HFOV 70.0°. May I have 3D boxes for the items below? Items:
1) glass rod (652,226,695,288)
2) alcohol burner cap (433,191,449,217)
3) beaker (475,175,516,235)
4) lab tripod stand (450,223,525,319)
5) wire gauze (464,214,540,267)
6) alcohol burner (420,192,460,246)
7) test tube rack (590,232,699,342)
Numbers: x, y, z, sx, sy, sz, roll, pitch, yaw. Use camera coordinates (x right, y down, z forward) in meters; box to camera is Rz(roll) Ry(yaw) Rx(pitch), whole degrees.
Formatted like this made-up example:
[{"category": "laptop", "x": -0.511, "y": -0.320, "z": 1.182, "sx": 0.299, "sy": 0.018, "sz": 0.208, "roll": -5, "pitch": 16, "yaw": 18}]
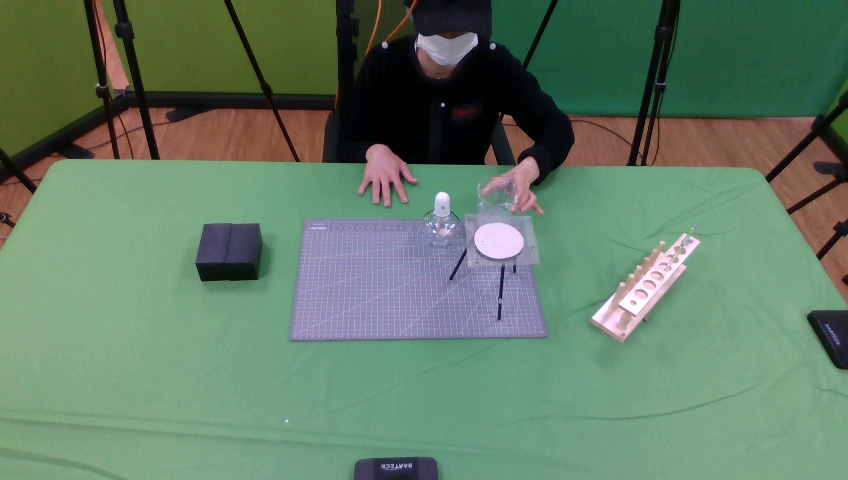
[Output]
[{"category": "glass rod", "x": 0.432, "y": 0.037, "z": 1.057, "sx": 0.008, "sy": 0.200, "sz": 0.008, "roll": 1, "pitch": 54, "yaw": -1}, {"category": "alcohol burner cap", "x": 0.033, "y": -0.071, "z": 1.150, "sx": 0.034, "sy": 0.048, "sz": 0.033, "roll": 0, "pitch": 45, "yaw": 0}, {"category": "beaker", "x": 0.138, "y": -0.063, "z": 1.159, "sx": 0.083, "sy": 0.101, "sz": 0.074, "roll": 36, "pitch": 64, "yaw": 25}, {"category": "lab tripod stand", "x": 0.120, "y": 0.046, "z": 1.080, "sx": 0.148, "sy": 0.132, "sz": 0.147, "roll": 1, "pitch": 47, "yaw": -1}, {"category": "wire gauze", "x": 0.131, "y": -0.002, "z": 1.034, "sx": 0.121, "sy": 0.011, "sz": 0.124, "roll": 1, "pitch": 45, "yaw": -2}, {"category": "alcohol burner", "x": 0.032, "y": -0.045, "z": 1.176, "sx": 0.078, "sy": 0.120, "sz": 0.077, "roll": 2, "pitch": 44, "yaw": -1}, {"category": "test tube rack", "x": 0.407, "y": 0.074, "z": 1.112, "sx": 0.066, "sy": 0.085, "sz": 0.242, "roll": 35, "pitch": 53, "yaw": 26}]
